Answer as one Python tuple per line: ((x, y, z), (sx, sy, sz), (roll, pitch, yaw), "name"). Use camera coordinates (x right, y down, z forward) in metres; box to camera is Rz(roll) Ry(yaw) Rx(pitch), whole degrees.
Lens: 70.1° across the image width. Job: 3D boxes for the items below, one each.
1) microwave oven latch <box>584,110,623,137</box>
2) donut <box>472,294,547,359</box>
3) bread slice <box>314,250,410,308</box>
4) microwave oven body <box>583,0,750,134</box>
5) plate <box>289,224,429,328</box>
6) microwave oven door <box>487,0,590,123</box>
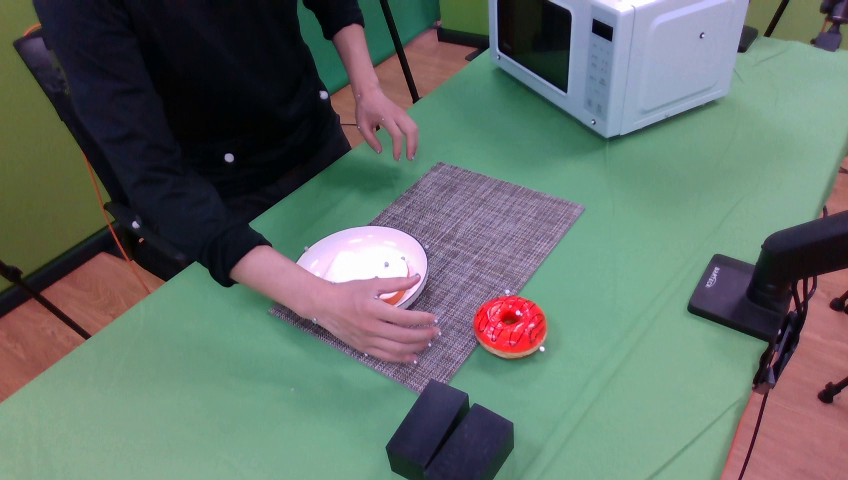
((0.337, -0.222, 1.142), (0.030, 0.029, 0.078), (-21, 42, -14), "microwave oven latch")
((0.114, 0.114, 0.803), (0.099, 0.048, 0.098), (0, 40, 1), "donut")
((-0.087, 0.056, 0.900), (0.131, 0.019, 0.104), (5, 42, 14), "bread slice")
((0.382, -0.445, 1.246), (0.327, 0.261, 0.437), (-22, 42, -16), "microwave oven body")
((-0.094, 0.055, 0.902), (0.207, 0.039, 0.206), (-4, 40, 4), "plate")
((0.232, -0.420, 1.230), (0.039, 0.245, 0.352), (-22, 43, -16), "microwave oven door")
